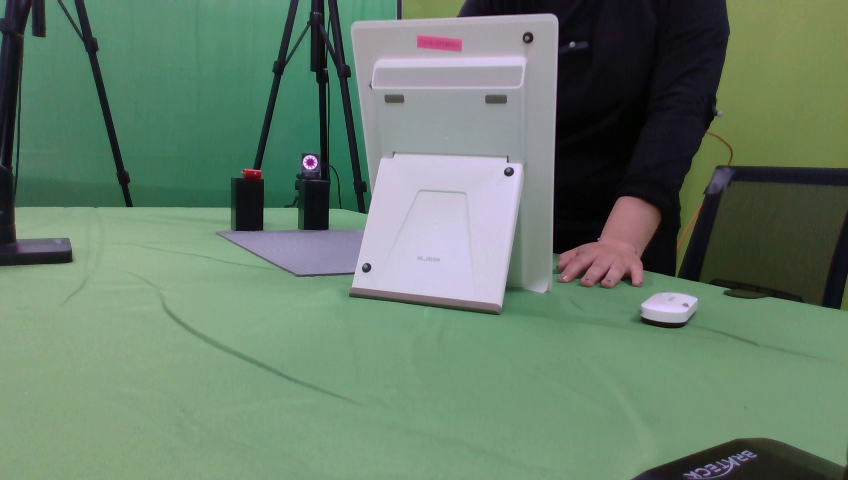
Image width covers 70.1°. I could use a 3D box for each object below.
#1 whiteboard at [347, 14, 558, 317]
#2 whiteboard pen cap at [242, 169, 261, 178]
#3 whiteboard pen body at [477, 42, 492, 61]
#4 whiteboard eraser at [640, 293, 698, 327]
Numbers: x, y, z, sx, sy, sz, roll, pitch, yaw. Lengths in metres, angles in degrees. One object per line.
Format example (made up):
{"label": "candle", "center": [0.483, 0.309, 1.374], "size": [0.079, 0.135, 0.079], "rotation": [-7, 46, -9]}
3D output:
{"label": "whiteboard", "center": [0.012, -0.056, 0.608], "size": [0.216, 0.305, 0.144], "rotation": [6, 28, 20]}
{"label": "whiteboard pen cap", "center": [-0.326, -0.125, 1.144], "size": [0.032, 0.017, 0.017], "rotation": [0, 7, -37]}
{"label": "whiteboard pen body", "center": [0.068, -0.208, 0.669], "size": [0.017, 0.017, 0.140], "rotation": [4, 21, 5]}
{"label": "whiteboard eraser", "center": [0.240, 0.066, 0.590], "size": [0.041, 0.019, 0.102], "rotation": [5, 7, 32]}
